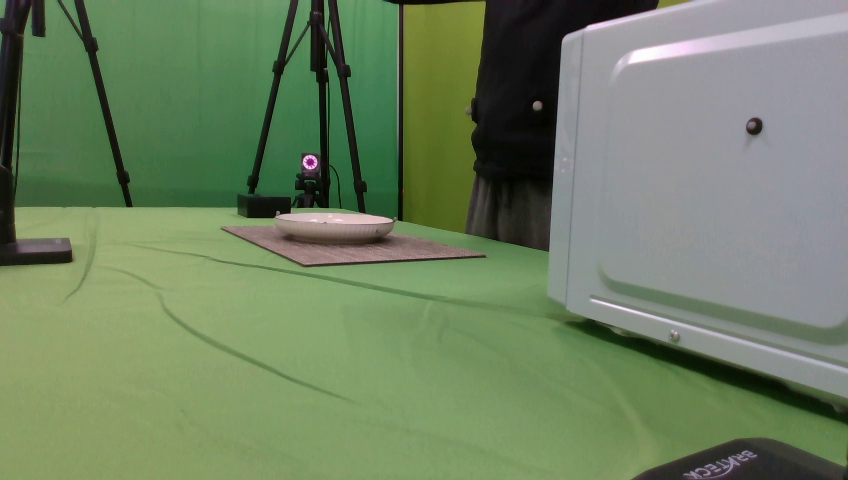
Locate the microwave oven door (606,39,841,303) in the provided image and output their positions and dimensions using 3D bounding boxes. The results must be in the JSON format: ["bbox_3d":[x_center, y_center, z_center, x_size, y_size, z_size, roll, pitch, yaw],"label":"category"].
[{"bbox_3d":[0.341,-0.070,0.654,0.358,0.243,0.039,-3,9,-31],"label":"microwave oven door"}]

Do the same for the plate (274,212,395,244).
[{"bbox_3d":[-0.157,-0.023,1.066,0.209,0.038,0.209,2,8,0],"label":"plate"}]

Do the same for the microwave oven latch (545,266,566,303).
[{"bbox_3d":[0.147,0.038,0.555,0.079,0.029,0.030,-2,7,-29],"label":"microwave oven latch"}]

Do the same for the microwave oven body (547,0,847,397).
[{"bbox_3d":[0.378,-0.045,0.509,0.444,0.260,0.324,-2,8,-31],"label":"microwave oven body"}]
